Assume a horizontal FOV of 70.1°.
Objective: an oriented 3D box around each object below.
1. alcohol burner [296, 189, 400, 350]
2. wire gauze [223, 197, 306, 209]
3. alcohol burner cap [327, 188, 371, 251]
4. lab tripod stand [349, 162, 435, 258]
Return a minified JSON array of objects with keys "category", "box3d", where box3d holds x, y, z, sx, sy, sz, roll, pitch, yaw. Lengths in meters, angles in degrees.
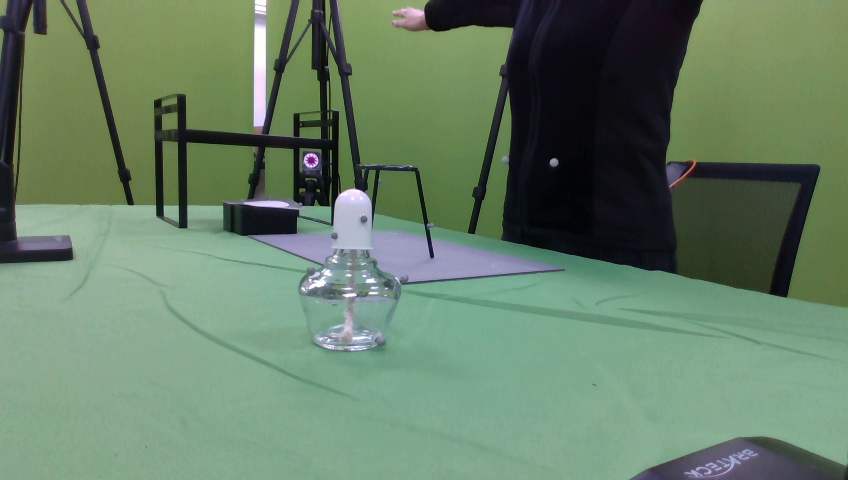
[{"category":"alcohol burner","box3d":[-0.056,0.021,0.453,0.078,0.119,0.078,3,6,0]},{"category":"wire gauze","box3d":[-0.291,-0.068,1.098,0.126,0.011,0.121,-2,10,-28]},{"category":"alcohol burner cap","box3d":[-0.055,-0.015,0.448,0.034,0.048,0.034,0,1,0]},{"category":"lab tripod stand","box3d":[-0.055,-0.044,0.863,0.148,0.131,0.148,3,9,0]}]
